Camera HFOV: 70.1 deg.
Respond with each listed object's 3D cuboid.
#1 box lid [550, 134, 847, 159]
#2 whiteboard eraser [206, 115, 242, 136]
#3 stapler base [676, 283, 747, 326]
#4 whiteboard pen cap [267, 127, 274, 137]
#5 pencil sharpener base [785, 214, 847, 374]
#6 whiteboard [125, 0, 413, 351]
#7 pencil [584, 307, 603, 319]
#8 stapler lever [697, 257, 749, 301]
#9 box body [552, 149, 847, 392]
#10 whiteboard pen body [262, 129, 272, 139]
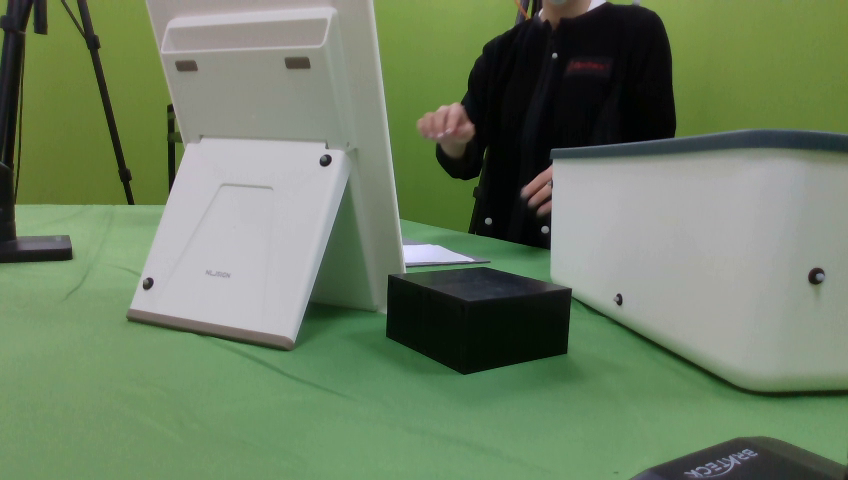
[{"bbox_3d":[0.294,-0.071,0.538,0.264,0.015,0.370,2,6,-10],"label":"box lid"},{"bbox_3d":[-0.438,-0.249,1.320,0.056,0.042,0.112,-3,9,-30],"label":"whiteboard eraser"},{"bbox_3d":[0.283,0.057,0.585,0.041,0.024,0.131,28,17,34],"label":"stapler base"},{"bbox_3d":[-0.340,-0.239,1.337,0.018,0.018,0.033,1,-1,-14],"label":"whiteboard pen cap"},{"bbox_3d":[0.322,0.038,0.441,0.077,0.107,0.061,1,8,-18],"label":"pencil sharpener base"},{"bbox_3d":[-0.151,-0.050,0.471,0.216,0.305,0.144,6,27,24],"label":"whiteboard"},{"bbox_3d":[0.250,0.054,0.656,0.195,0.012,0.012,-14,14,-25],"label":"pencil"},{"bbox_3d":[0.290,0.035,0.581,0.026,0.040,0.119,28,18,34],"label":"stapler lever"},{"bbox_3d":[0.290,0.002,0.549,0.255,0.160,0.363,2,7,-10],"label":"box body"},{"bbox_3d":[-0.361,-0.245,1.393,0.017,0.017,0.140,0,5,-20],"label":"whiteboard pen body"}]
